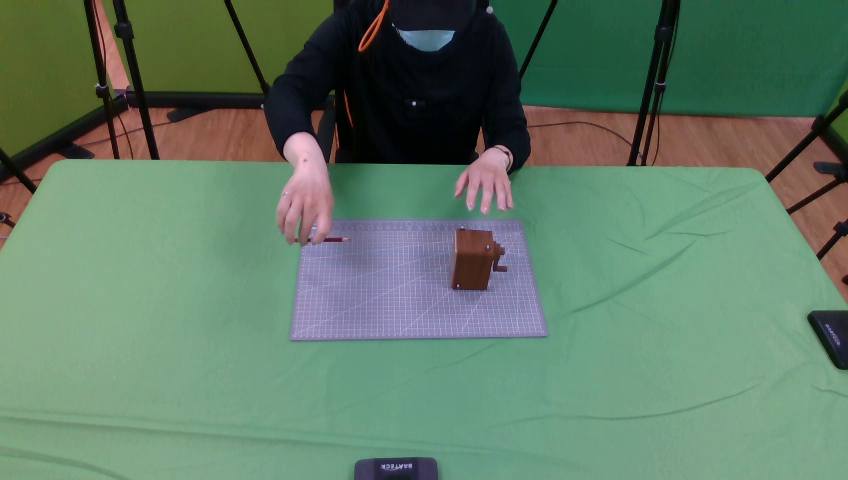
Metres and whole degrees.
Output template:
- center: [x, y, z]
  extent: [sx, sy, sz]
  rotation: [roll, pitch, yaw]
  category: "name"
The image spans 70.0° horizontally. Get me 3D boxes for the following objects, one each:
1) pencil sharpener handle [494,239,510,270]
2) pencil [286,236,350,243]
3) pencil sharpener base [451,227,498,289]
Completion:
- center: [0.143, 0.029, 1.094]
  extent: [0.030, 0.068, 0.036]
  rotation: [3, 42, -1]
  category: "pencil sharpener handle"
- center: [-0.183, -0.002, 1.034]
  extent: [0.193, 0.012, 0.012]
  rotation: [-1, 33, 47]
  category: "pencil"
- center: [0.091, 0.034, 1.103]
  extent: [0.077, 0.107, 0.061]
  rotation: [3, 46, -1]
  category: "pencil sharpener base"
